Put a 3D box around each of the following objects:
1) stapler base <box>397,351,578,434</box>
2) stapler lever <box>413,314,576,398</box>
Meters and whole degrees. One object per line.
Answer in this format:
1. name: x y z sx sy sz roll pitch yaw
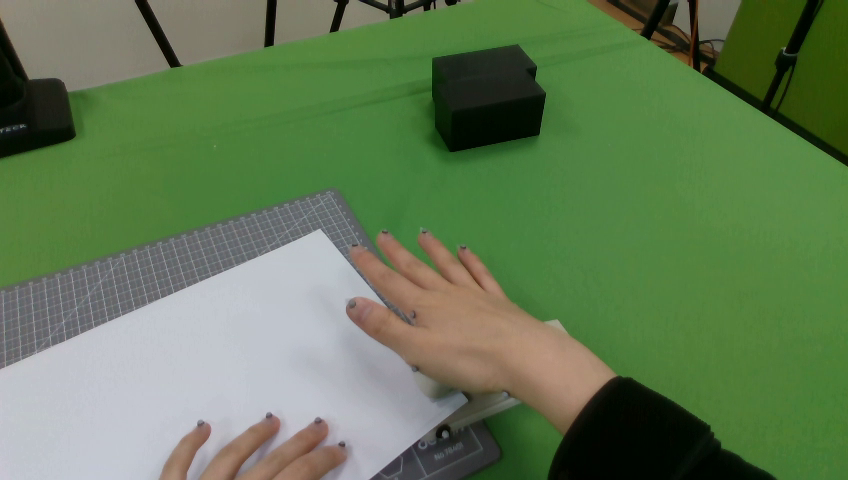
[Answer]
1. stapler base: 0.046 0.091 0.416 0.131 0.024 0.041 -16 51 -21
2. stapler lever: 0.049 0.072 0.399 0.118 0.040 0.026 -16 51 -21
